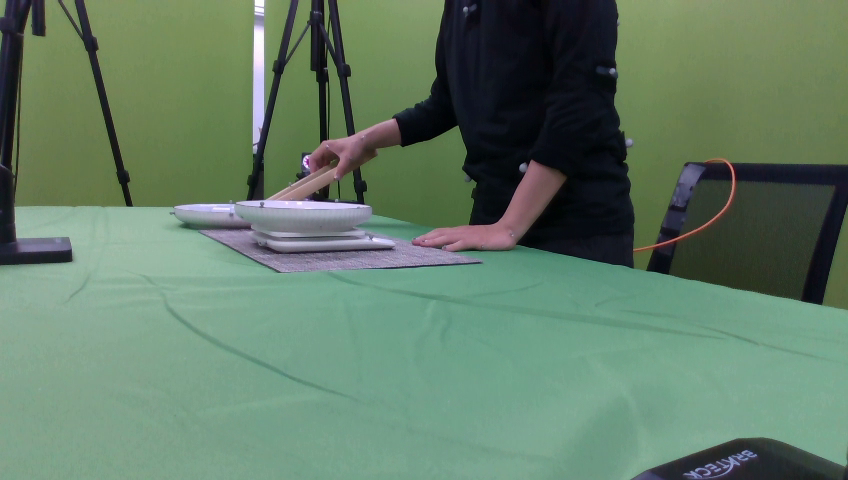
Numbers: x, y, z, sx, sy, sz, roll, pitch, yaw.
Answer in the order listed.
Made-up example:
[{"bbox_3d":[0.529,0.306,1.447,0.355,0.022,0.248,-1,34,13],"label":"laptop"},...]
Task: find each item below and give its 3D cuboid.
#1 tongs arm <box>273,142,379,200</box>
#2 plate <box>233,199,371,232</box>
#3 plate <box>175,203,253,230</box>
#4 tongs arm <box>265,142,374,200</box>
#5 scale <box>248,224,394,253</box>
[{"bbox_3d":[-0.209,-0.142,1.316,0.028,0.028,0.389,-8,21,39],"label":"tongs arm"},{"bbox_3d":[-0.188,-0.039,0.939,0.209,0.038,0.209,2,7,0],"label":"plate"},{"bbox_3d":[-0.381,-0.047,1.199,0.208,0.039,0.207,3,7,0],"label":"plate"},{"bbox_3d":[-0.227,-0.141,1.329,0.050,0.026,0.386,-6,23,33],"label":"tongs arm"},{"bbox_3d":[-0.162,-0.006,0.954,0.202,0.031,0.148,-2,8,-32],"label":"scale"}]
